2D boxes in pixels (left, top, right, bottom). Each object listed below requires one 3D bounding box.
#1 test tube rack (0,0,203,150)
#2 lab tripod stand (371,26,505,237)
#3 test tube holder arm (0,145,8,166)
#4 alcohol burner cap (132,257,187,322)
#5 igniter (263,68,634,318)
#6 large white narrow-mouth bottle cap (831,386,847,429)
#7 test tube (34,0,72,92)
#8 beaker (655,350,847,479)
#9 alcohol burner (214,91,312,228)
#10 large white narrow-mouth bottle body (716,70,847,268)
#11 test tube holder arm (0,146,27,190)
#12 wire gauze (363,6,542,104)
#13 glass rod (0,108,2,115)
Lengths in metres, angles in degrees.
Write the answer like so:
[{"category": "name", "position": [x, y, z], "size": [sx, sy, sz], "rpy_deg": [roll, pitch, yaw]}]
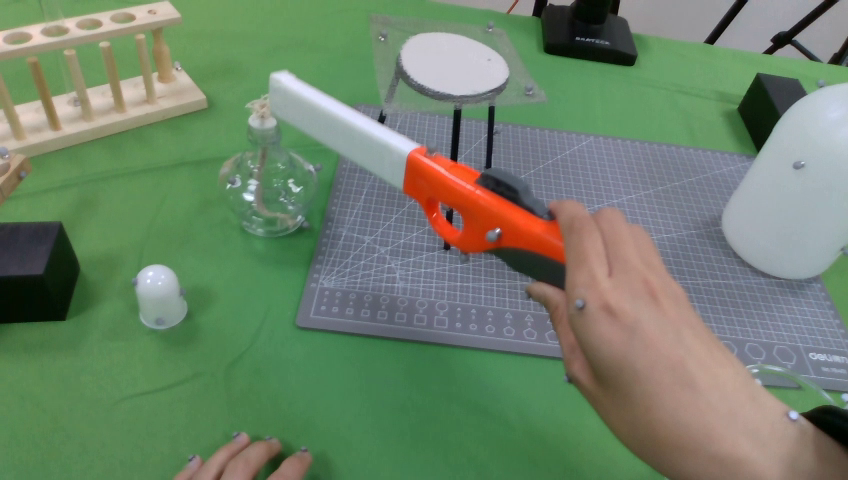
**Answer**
[{"category": "test tube rack", "position": [-0.333, -0.145, 0.540], "size": [0.243, 0.086, 0.066], "rpy_deg": [-26, 56, -29]}, {"category": "lab tripod stand", "position": [0.014, -0.098, 0.516], "size": [0.149, 0.132, 0.147], "rpy_deg": [6, 48, -6]}, {"category": "test tube holder arm", "position": [-0.317, -0.003, 0.390], "size": [0.013, 0.015, 0.177], "rpy_deg": [9, 46, 0]}, {"category": "alcohol burner cap", "position": [-0.189, 0.033, 0.428], "size": [0.034, 0.048, 0.033], "rpy_deg": [6, 47, -6]}, {"category": "igniter", "position": [-0.001, -0.039, 0.353], "size": [0.274, 0.057, 0.025], "rpy_deg": [32, 42, 27]}, {"category": "large white narrow-mouth bottle cap", "position": [0.322, 0.123, 0.443], "size": [0.038, 0.024, 0.037], "rpy_deg": [4, 47, -4]}, {"category": "test tube", "position": [-0.324, -0.197, 0.522], "size": [0.017, 0.151, 0.017], "rpy_deg": [5, 42, -4]}, {"category": "beaker", "position": [0.187, 0.125, 0.364], "size": [0.084, 0.101, 0.073], "rpy_deg": [-2, 47, -9]}, {"category": "alcohol burner", "position": [-0.128, -0.067, 0.482], "size": [0.078, 0.120, 0.077], "rpy_deg": [6, 45, -6]}, {"category": "large white narrow-mouth bottle body", "position": [0.330, -0.072, 0.501], "size": [0.102, 0.196, 0.101], "rpy_deg": [4, 47, -4]}, {"category": "test tube holder arm", "position": [-0.307, -0.034, 0.421], "size": [0.010, 0.015, 0.087], "rpy_deg": [9, 46, 0]}, {"category": "wire gauze", "position": [0.018, -0.145, 0.468], "size": [0.122, 0.011, 0.123], "rpy_deg": [-3, 49, -13]}, {"category": "glass rod", "position": [-0.369, -0.191, 0.486], "size": [0.008, 0.201, 0.008], "rpy_deg": [8, 38, -6]}]
